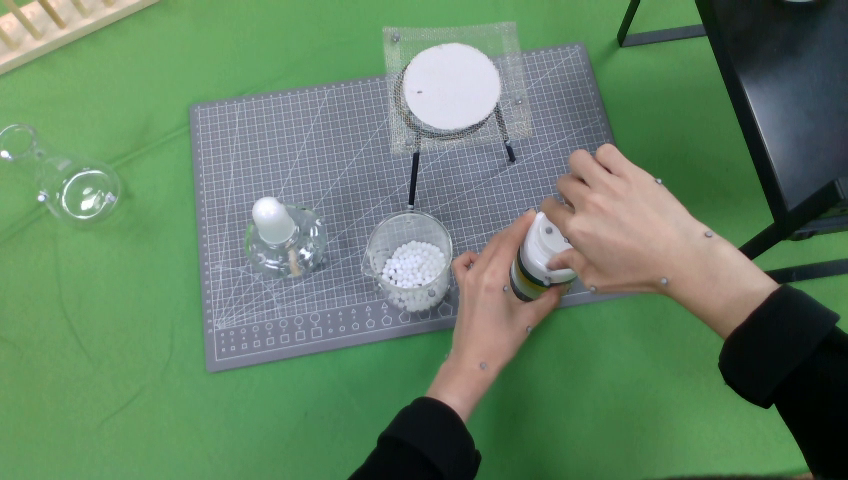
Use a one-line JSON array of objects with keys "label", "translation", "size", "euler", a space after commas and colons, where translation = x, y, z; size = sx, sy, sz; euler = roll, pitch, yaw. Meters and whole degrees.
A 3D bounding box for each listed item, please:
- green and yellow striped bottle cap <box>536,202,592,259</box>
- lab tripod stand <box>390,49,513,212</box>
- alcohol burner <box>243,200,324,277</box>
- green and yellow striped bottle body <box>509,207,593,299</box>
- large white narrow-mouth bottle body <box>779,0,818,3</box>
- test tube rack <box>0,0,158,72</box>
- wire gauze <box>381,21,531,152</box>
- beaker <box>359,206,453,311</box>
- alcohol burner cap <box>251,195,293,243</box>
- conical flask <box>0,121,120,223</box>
[{"label": "green and yellow striped bottle cap", "translation": [0.115, -0.008, 0.500], "size": [0.045, 0.020, 0.045], "euler": [-1, 76, 3]}, {"label": "lab tripod stand", "translation": [0.021, -0.110, 0.589], "size": [0.148, 0.132, 0.147], "euler": [0, 70, 0]}, {"label": "alcohol burner", "translation": [-0.135, -0.008, 0.567], "size": [0.078, 0.120, 0.077], "euler": [0, 69, -1]}, {"label": "green and yellow striped bottle body", "translation": [0.115, 0.011, 0.554], "size": [0.063, 0.120, 0.063], "euler": [0, 71, 1]}, {"label": "large white narrow-mouth bottle body", "translation": [0.305, -0.268, 0.420], "size": [0.102, 0.196, 0.101], "euler": [0, 69, 1]}, {"label": "test tube rack", "translation": [-0.418, -0.281, 0.680], "size": [0.242, 0.085, 0.066], "euler": [-29, 74, -9]}, {"label": "wire gauze", "translation": [0.026, -0.137, 0.527], "size": [0.121, 0.011, 0.124], "euler": [-4, 72, -2]}, {"label": "beaker", "translation": [-0.014, 0.024, 0.563], "size": [0.084, 0.101, 0.073], "euler": [-22, 71, -5]}, {"label": "alcohol burner cap", "translation": [-0.136, -0.021, 0.533], "size": [0.034, 0.048, 0.033], "euler": [1, 64, -1]}, {"label": "conical flask", "translation": [-0.360, -0.070, 0.589], "size": [0.075, 0.122, 0.075], "euler": [0, 71, 1]}]
